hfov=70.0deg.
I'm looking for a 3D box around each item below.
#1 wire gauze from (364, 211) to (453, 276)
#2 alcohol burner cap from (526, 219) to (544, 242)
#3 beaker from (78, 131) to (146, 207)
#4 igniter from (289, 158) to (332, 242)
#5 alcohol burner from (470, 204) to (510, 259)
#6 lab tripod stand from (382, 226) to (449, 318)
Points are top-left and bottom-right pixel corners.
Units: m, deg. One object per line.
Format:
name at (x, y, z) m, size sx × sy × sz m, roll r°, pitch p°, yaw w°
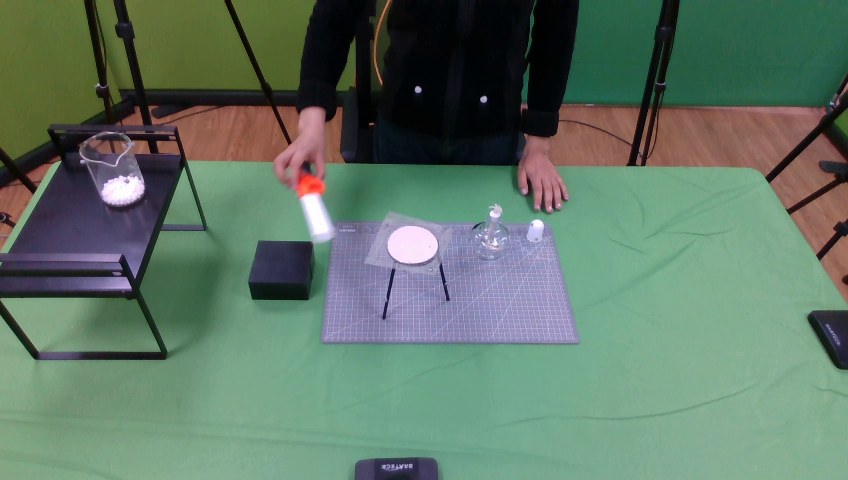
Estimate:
wire gauze at (-0.024, 0.006, 1.016) m, size 0.121 × 0.011 × 0.124 m, roll 14°, pitch 48°, yaw 9°
alcohol burner cap at (0.225, -0.021, 1.218) m, size 0.034 × 0.048 × 0.033 m, roll 1°, pitch 46°, yaw -1°
beaker at (-0.488, -0.108, 0.961) m, size 0.074 × 0.101 × 0.083 m, roll -25°, pitch 54°, yaw -25°
igniter at (-0.203, -0.079, 1.074) m, size 0.057 × 0.025 × 0.274 m, roll -7°, pitch 35°, yaw -16°
alcohol burner at (0.128, -0.021, 1.161) m, size 0.078 × 0.119 × 0.077 m, roll 2°, pitch 44°, yaw -2°
lab tripod stand at (-0.024, 0.055, 1.063) m, size 0.148 × 0.132 × 0.147 m, roll 2°, pitch 48°, yaw -2°
